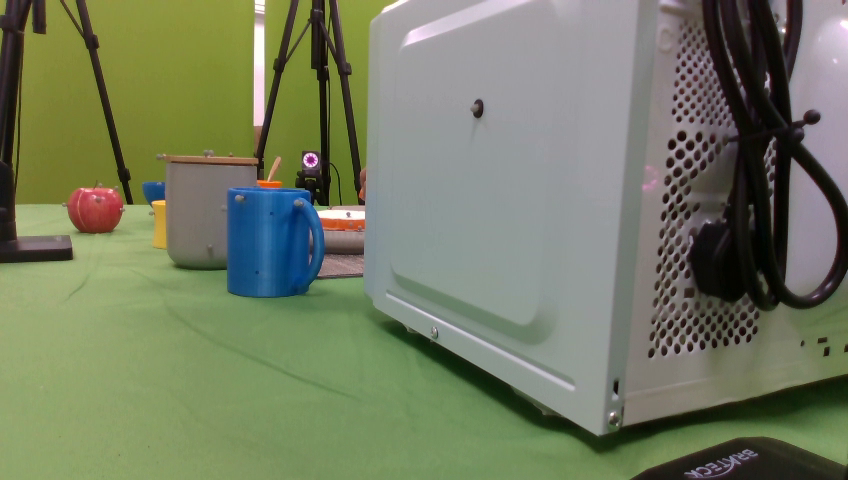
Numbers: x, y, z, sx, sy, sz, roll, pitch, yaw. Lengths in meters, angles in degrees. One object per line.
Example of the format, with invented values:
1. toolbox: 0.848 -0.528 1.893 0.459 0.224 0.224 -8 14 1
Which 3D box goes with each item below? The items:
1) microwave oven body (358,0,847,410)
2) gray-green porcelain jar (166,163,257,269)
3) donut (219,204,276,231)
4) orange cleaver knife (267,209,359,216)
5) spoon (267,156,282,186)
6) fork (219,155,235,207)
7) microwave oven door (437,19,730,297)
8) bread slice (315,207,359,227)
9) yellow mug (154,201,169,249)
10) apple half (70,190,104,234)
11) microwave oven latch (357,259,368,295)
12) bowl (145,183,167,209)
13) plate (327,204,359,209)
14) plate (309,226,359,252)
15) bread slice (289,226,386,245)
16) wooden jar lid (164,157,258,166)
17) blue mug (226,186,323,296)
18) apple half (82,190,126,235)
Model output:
1. microwave oven body: 0.210 -0.051 0.471 0.444 0.260 0.324 -1 7 -28
2. gray-green porcelain jar: -0.263 -0.031 0.754 0.106 0.126 0.106 2 7 0
3. donut: -0.316 -0.039 1.083 0.099 0.048 0.099 2 7 0
4. orange cleaver knife: -0.259 -0.064 1.423 0.212 0.012 0.077 -4 3 -30
5. spoon: -0.391 -0.150 1.547 0.041 0.193 0.021 3 -37 8
6. fork: -0.459 -0.134 1.415 0.028 0.018 0.207 -1 -34 -24
7. microwave oven door: 0.180 -0.076 0.618 0.358 0.243 0.039 -2 9 -28
8. bread slice: -0.127 -0.035 0.933 0.134 0.018 0.107 4 11 27
9. yellow mug: -0.338 -0.022 0.899 0.130 0.064 0.100 8 9 34
10. apple half: -0.552 -0.047 1.010 0.053 0.074 0.081 -1 9 26
11. microwave oven latch: -0.019 0.031 0.529 0.079 0.029 0.030 -1 7 -25
12. bowl: -0.459 -0.068 1.175 0.151 0.077 0.151 3 7 0
13. plate: -0.102 -0.053 1.298 0.209 0.038 0.209 1 7 0
14. plate: -0.130 -0.011 0.945 0.208 0.039 0.207 2 7 0
15. bread slice: -0.125 -0.008 0.938 0.131 0.019 0.105 4 7 31
16. wooden jar lid: -0.261 -0.093 0.746 0.108 0.020 0.108 0 9 0
17. blue mug: -0.148 0.000 0.618 0.116 0.106 0.083 7 9 33
18. apple half: -0.517 -0.046 0.994 0.032 0.081 0.081 0 6 26
